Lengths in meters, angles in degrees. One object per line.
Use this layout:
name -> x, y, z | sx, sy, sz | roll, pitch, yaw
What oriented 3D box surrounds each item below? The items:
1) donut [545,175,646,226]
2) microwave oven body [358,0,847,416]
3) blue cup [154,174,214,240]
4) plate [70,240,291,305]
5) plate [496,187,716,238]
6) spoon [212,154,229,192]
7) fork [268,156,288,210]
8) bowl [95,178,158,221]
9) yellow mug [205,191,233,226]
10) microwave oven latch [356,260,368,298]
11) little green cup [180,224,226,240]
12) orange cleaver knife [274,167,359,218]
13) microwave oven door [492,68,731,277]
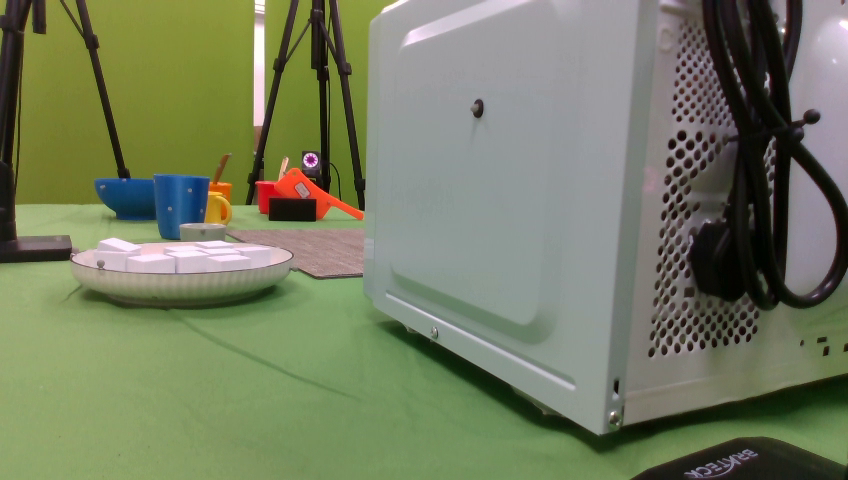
donut -> 0.169, -0.037, 0.600 | 0.099, 0.048, 0.099 | 10, 5, -1
microwave oven body -> 0.211, -0.047, 0.474 | 0.444, 0.260, 0.324 | -1, 7, -28
blue cup -> -0.391, -0.053, 0.978 | 0.093, 0.100, 0.092 | 3, 6, 0
plate -> -0.242, 0.031, 0.618 | 0.208, 0.039, 0.207 | 2, 8, 0
plate -> 0.174, -0.027, 0.600 | 0.209, 0.038, 0.209 | 4, 4, 0
spoon -> -0.431, -0.115, 1.253 | 0.042, 0.193, 0.021 | -3, 54, -33
fork -> -0.360, -0.144, 1.508 | 0.028, 0.018, 0.207 | 1, 49, 0
bowl -> -0.576, -0.081, 1.217 | 0.151, 0.077, 0.151 | 3, 7, 0
yellow mug -> -0.415, -0.057, 1.131 | 0.130, 0.064, 0.100 | 6, 8, 16
microwave oven latch -> -0.020, 0.033, 0.529 | 0.079, 0.029, 0.030 | 0, 7, -24
little green cup -> -0.309, -0.001, 0.846 | 0.061, 0.038, 0.061 | 2, 8, 0
orange cleaver knife -> -0.238, -0.090, 1.381 | 0.212, 0.077, 0.012 | 31, 0, -19
microwave oven door -> 0.232, -0.098, 0.836 | 0.039, 0.243, 0.354 | -3, 9, -36
